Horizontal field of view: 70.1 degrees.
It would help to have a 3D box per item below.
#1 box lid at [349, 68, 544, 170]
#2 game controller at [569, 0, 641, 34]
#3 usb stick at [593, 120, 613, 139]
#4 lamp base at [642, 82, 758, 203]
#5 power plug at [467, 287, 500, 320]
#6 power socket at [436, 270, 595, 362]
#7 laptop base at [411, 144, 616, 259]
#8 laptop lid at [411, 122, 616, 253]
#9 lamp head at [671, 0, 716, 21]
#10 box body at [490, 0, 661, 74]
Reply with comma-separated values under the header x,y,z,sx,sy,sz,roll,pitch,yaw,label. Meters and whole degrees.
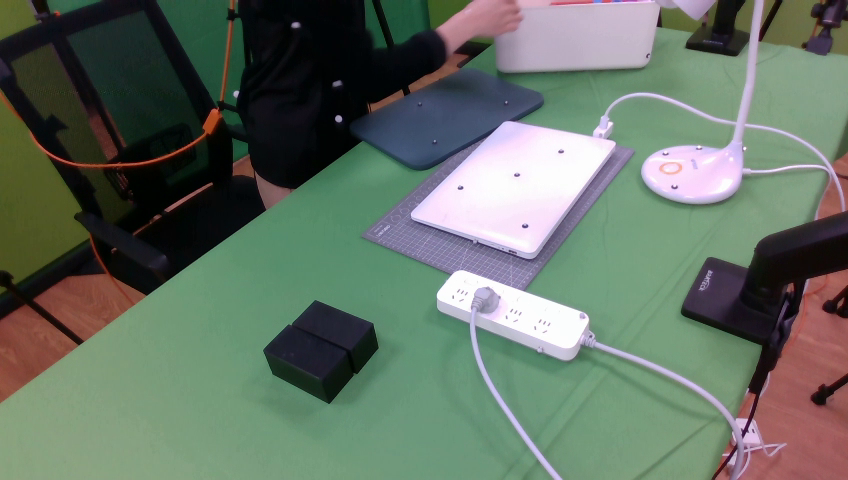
x,y,z,sx,sy,sz,roll,pitch,yaw,label
0.051,-0.271,1.297,0.373,0.015,0.261,-32,45,-26,box lid
0.421,-0.522,1.395,0.155,0.052,0.096,-9,44,-3,game controller
0.336,-0.201,1.147,0.021,0.027,0.059,26,53,27,usb stick
0.464,-0.174,0.992,0.179,0.181,0.159,-5,41,-1,lamp base
0.073,0.092,0.814,0.035,0.053,0.073,29,54,34,power plug
0.118,0.101,0.832,0.225,0.033,0.072,19,48,27,power socket
0.168,-0.101,1.074,0.234,0.023,0.355,17,46,30,laptop base
0.164,-0.111,1.067,0.240,0.013,0.357,19,46,31,laptop lid
0.375,-0.373,0.807,0.122,0.113,0.112,-40,27,32,lamp head
0.346,-0.520,1.429,0.363,0.161,0.253,0,41,9,box body
